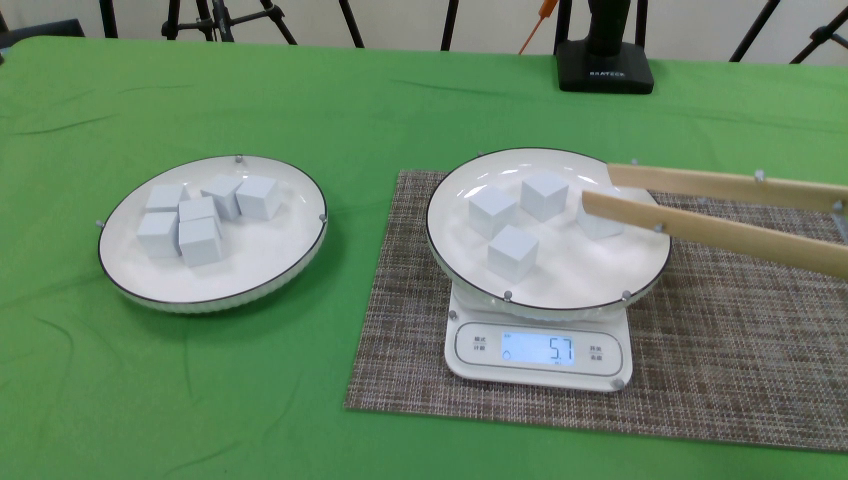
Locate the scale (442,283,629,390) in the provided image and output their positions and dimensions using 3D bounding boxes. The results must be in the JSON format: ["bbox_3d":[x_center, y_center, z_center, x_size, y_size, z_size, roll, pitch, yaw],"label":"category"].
[{"bbox_3d":[0.098,0.036,0.535,0.148,0.032,0.199,4,45,6],"label":"scale"}]

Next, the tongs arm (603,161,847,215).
[{"bbox_3d":[0.281,-0.010,0.373,0.381,0.027,0.050,13,50,40],"label":"tongs arm"}]

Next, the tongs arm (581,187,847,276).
[{"bbox_3d":[0.265,0.007,0.362,0.384,0.028,0.028,17,49,42],"label":"tongs arm"}]

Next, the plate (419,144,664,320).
[{"bbox_3d":[0.100,-0.008,0.532,0.208,0.039,0.205,1,45,0],"label":"plate"}]

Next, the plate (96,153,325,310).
[{"bbox_3d":[-0.198,-0.009,0.584,0.209,0.038,0.207,0,44,0],"label":"plate"}]
